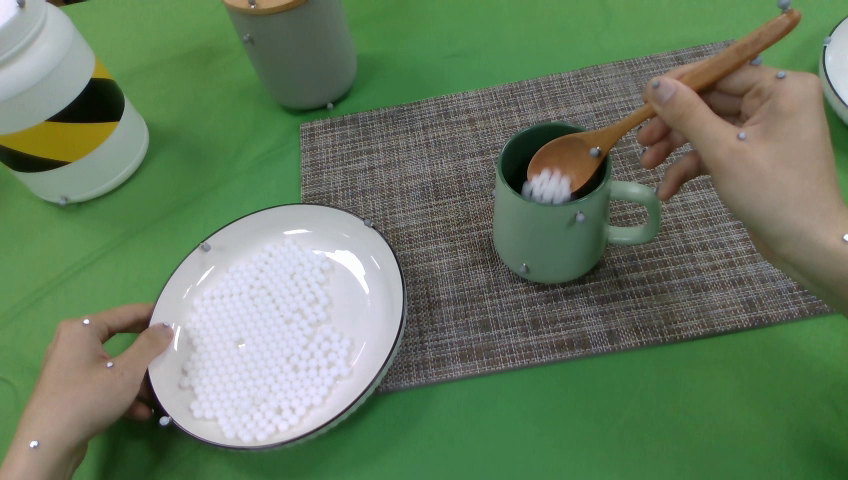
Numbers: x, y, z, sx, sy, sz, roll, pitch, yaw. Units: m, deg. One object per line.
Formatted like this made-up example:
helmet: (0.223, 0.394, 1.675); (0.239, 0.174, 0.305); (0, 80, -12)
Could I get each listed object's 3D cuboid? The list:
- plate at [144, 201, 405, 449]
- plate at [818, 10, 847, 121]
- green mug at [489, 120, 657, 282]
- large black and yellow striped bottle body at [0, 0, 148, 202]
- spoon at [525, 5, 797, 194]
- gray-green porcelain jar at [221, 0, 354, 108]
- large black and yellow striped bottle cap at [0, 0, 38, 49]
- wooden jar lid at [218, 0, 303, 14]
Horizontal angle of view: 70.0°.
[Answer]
plate: (-0.114, 0.063, 0.481); (0.209, 0.038, 0.207); (-5, 57, 8)
plate: (0.454, -0.139, 0.526); (0.207, 0.039, 0.205); (-4, 57, 7)
green mug: (0.111, -0.025, 0.462); (0.125, 0.106, 0.092); (9, 58, 13)
large black and yellow striped bottle body: (-0.363, -0.137, 0.561); (0.130, 0.186, 0.129); (-4, 57, 6)
spoon: (0.139, -0.082, 0.387); (0.022, 0.193, 0.041); (-26, 85, -42)
gray-green porcelain jar: (-0.130, -0.205, 0.606); (0.106, 0.128, 0.105); (-4, 57, 6)
large black and yellow striped bottle cap: (-0.374, -0.180, 0.491); (0.115, 0.019, 0.114); (-4, 56, 6)
wooden jar lid: (-0.139, -0.240, 0.555); (0.108, 0.021, 0.107); (-3, 60, 6)
